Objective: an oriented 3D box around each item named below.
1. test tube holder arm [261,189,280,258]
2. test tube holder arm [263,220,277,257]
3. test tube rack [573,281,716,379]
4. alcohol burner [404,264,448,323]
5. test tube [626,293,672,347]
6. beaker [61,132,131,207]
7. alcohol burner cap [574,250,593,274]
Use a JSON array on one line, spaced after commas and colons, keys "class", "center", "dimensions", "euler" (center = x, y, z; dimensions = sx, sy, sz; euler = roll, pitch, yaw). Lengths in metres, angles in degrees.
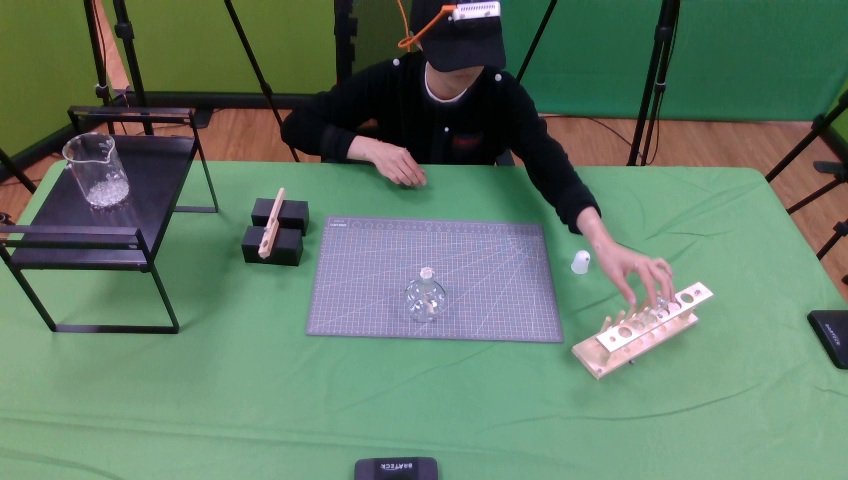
[{"class": "test tube holder arm", "center": [-0.290, -0.036, 1.147], "dimensions": [0.013, 0.015, 0.177], "euler": [1, 46, -4]}, {"class": "test tube holder arm", "center": [-0.283, -0.004, 1.116], "dimensions": [0.010, 0.015, 0.087], "euler": [2, 45, -3]}, {"class": "test tube rack", "center": [0.378, 0.140, 1.038], "dimensions": [0.242, 0.085, 0.066], "euler": [-22, 51, -23]}, {"class": "alcohol burner", "center": [0.003, 0.087, 1.042], "dimensions": [0.078, 0.120, 0.077], "euler": [1, 45, 0]}, {"class": "test tube", "center": [0.355, 0.131, 0.972], "dimensions": [0.017, 0.151, 0.017], "euler": [6, 51, -8]}, {"class": "beaker", "center": [-0.512, -0.107, 0.959], "dimensions": [0.083, 0.101, 0.074], "euler": [29, 51, 22]}, {"class": "alcohol burner cap", "center": [0.308, 0.039, 1.163], "dimensions": [0.034, 0.048, 0.033], "euler": [1, 46, 0]}]
